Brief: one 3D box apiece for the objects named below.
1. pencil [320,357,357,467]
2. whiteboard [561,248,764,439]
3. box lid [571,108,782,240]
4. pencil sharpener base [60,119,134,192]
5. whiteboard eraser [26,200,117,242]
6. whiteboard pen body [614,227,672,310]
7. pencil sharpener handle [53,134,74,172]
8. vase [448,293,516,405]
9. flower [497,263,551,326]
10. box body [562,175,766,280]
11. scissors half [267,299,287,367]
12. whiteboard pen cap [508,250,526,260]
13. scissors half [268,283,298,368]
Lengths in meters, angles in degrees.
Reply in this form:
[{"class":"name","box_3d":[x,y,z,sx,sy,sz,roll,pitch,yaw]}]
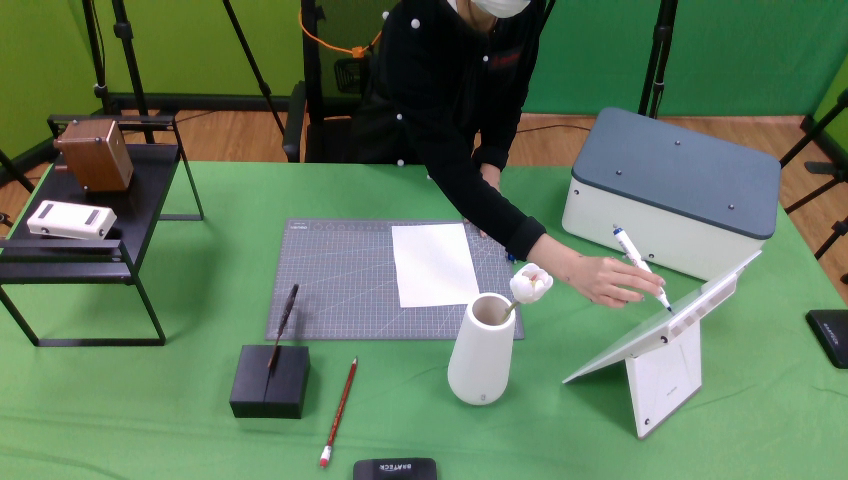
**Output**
[{"class":"pencil","box_3d":[-0.130,0.261,0.947,0.012,0.012,0.193,10,45,5]},{"class":"whiteboard","box_3d":[0.386,0.176,0.905,0.217,0.306,0.143,-26,72,-27]},{"class":"box lid","box_3d":[0.491,-0.139,1.168,0.370,0.015,0.262,21,49,15]},{"class":"pencil sharpener base","box_3d":[-0.528,-0.135,0.979,0.077,0.107,0.061,-4,47,-7]},{"class":"whiteboard eraser","box_3d":[-0.532,-0.026,0.919,0.113,0.042,0.055,7,45,3]},{"class":"whiteboard pen body","box_3d":[0.318,0.042,0.878,0.017,0.017,0.140,-30,85,-28]},{"class":"pencil sharpener handle","box_3d":[-0.577,-0.138,0.961,0.031,0.068,0.036,-4,34,-7]},{"class":"vase","box_3d":[0.091,0.169,0.921,0.098,0.201,0.097,3,47,-3]},{"class":"flower","box_3d":[0.103,0.121,0.852,0.044,0.363,0.038,-1,63,-9]},{"class":"box body","box_3d":[0.486,-0.088,1.222,0.363,0.161,0.253,20,48,15]},{"class":"scissors half","box_3d":[-0.238,0.150,0.997,0.013,0.040,0.174,24,24,-13]},{"class":"whiteboard pen cap","box_3d":[0.181,0.029,1.185,0.033,0.018,0.018,-4,47,-14]},{"class":"scissors half","box_3d":[-0.230,0.135,0.986,0.013,0.040,0.174,19,43,-11]}]
